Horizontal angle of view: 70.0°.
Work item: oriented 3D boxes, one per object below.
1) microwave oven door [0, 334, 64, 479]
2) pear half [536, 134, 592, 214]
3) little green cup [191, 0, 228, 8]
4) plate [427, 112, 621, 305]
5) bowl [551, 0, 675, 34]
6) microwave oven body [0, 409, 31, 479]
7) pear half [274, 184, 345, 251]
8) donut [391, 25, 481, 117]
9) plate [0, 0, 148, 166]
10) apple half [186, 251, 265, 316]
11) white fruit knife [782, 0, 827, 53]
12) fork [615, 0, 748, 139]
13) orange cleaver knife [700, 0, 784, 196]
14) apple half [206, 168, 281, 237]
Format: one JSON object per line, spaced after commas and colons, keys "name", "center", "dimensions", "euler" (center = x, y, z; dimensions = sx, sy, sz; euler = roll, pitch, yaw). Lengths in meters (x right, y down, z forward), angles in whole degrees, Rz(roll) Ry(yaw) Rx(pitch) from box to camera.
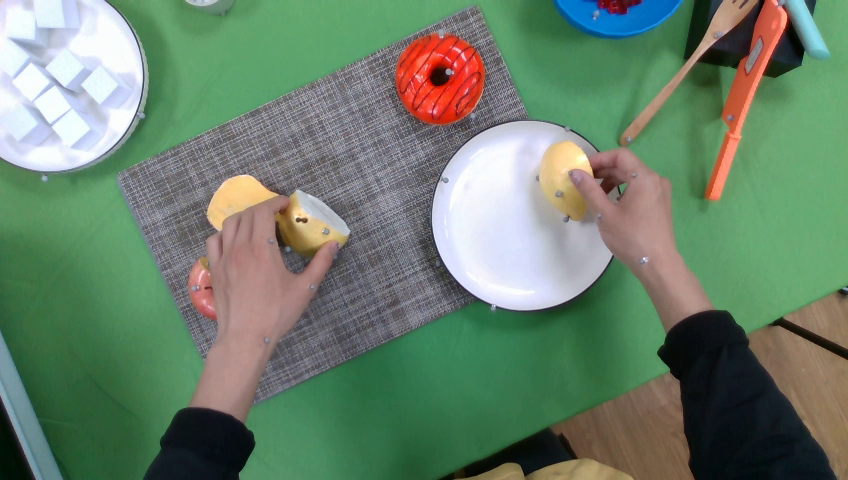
{"name": "microwave oven door", "center": [-0.444, 0.215, 0.560], "dimensions": [0.039, 0.244, 0.355], "euler": [-23, 91, 1]}
{"name": "pear half", "center": [0.141, -0.066, 0.638], "dimensions": [0.031, 0.070, 0.088], "euler": [-18, 104, -24]}
{"name": "little green cup", "center": [-0.240, -0.287, 0.664], "dimensions": [0.061, 0.038, 0.061], "euler": [0, 91, 1]}
{"name": "plate", "center": [0.107, -0.033, 0.664], "dimensions": [0.209, 0.038, 0.209], "euler": [0, 92, 0]}
{"name": "bowl", "center": [0.192, -0.285, 0.641], "dimensions": [0.151, 0.077, 0.151], "euler": [0, 92, 0]}
{"name": "microwave oven body", "center": [-0.595, 0.230, 0.567], "dimensions": [0.326, 0.260, 0.441], "euler": [-22, 92, 0]}
{"name": "pear half", "center": [-0.127, -0.017, 0.627], "dimensions": [0.076, 0.110, 0.056], "euler": [36, 93, 4]}
{"name": "donut", "center": [0.013, -0.183, 0.658], "dimensions": [0.099, 0.048, 0.099], "euler": [0, 93, 3]}
{"name": "plate", "center": [-0.404, -0.184, 0.668], "dimensions": [0.208, 0.039, 0.207], "euler": [0, 91, 1]}
{"name": "apple half", "center": [-0.217, 0.053, 0.652], "dimensions": [0.081, 0.074, 0.053], "euler": [30, 95, -4]}
{"name": "white fruit knife", "center": [0.363, -0.286, 0.621], "dimensions": [0.027, 0.016, 0.207], "euler": [-23, 89, -28]}
{"name": "fork", "center": [0.273, -0.190, 0.638], "dimensions": [0.028, 0.018, 0.208], "euler": [32, 112, -9]}
{"name": "orange cleaver knife", "center": [0.330, -0.152, 0.641], "dimensions": [0.012, 0.077, 0.212], "euler": [12, 117, 5]}
{"name": "apple half", "center": [-0.198, -0.035, 0.666], "dimensions": [0.081, 0.033, 0.080], "euler": [4, 68, -8]}
